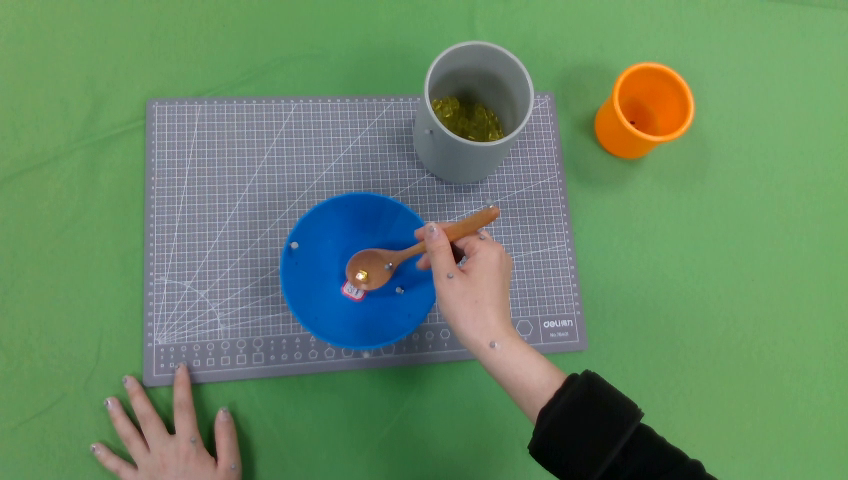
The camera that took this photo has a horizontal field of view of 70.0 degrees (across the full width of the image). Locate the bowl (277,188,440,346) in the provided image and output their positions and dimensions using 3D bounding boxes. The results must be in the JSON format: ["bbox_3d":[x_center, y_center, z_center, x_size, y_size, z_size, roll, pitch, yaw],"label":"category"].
[{"bbox_3d":[-0.064,0.031,0.596,0.152,0.077,0.150,2,78,-7],"label":"bowl"}]

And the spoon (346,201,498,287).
[{"bbox_3d":[-0.008,0.005,0.543,0.021,0.193,0.041,-28,93,-44],"label":"spoon"}]

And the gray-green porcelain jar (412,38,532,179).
[{"bbox_3d":[0.043,-0.125,0.619,0.106,0.127,0.105,2,77,-7],"label":"gray-green porcelain jar"}]
